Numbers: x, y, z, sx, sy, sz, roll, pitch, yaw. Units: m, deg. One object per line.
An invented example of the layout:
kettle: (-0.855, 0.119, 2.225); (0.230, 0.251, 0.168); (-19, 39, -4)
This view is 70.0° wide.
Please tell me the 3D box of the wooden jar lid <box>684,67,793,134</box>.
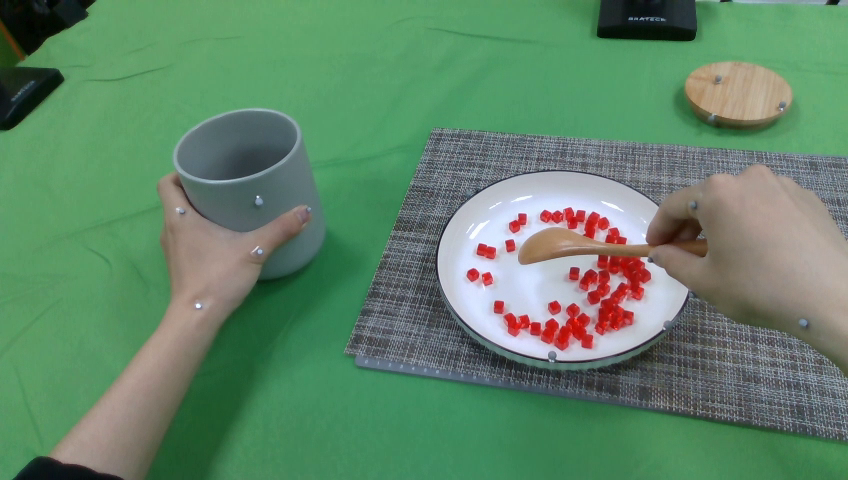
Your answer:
wooden jar lid: (0.339, -0.151, 0.659); (0.108, 0.021, 0.107); (-3, 49, 4)

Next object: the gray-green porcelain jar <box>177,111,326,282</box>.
gray-green porcelain jar: (-0.147, -0.034, 0.544); (0.106, 0.128, 0.105); (-2, 45, 3)

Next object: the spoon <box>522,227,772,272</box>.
spoon: (0.146, 0.011, 0.434); (0.192, 0.022, 0.041); (4, 59, 46)

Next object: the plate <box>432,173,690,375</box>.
plate: (0.112, 0.026, 0.514); (0.207, 0.039, 0.205); (-4, 48, 4)
